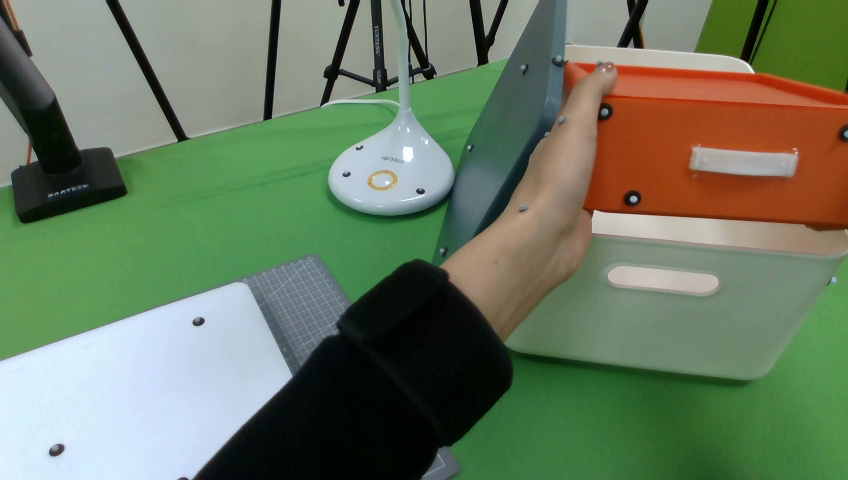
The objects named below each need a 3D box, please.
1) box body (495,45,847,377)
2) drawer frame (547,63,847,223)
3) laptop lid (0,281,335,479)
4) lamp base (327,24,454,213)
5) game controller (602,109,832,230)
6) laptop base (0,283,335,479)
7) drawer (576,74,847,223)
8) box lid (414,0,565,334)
[{"bbox_3d":[0.209,-0.050,0.617,0.254,0.162,0.361,5,40,7],"label":"box body"},{"bbox_3d":[0.206,-0.085,0.467,0.201,0.083,0.212,3,20,3],"label":"drawer frame"},{"bbox_3d":[-0.272,0.158,0.454,0.357,0.013,0.239,-19,45,-21],"label":"laptop lid"},{"bbox_3d":[-0.041,-0.152,0.725,0.160,0.182,0.178,6,38,7],"label":"lamp base"},{"bbox_3d":[0.204,-0.056,0.430,0.155,0.052,0.096,1,50,1],"label":"game controller"},{"bbox_3d":[-0.273,0.166,0.463,0.355,0.023,0.233,-20,47,-23],"label":"laptop base"},{"bbox_3d":[0.205,-0.083,0.464,0.194,0.073,0.210,3,21,4],"label":"drawer"},{"bbox_3d":[0.072,-0.102,0.613,0.015,0.264,0.368,23,40,-5],"label":"box lid"}]
